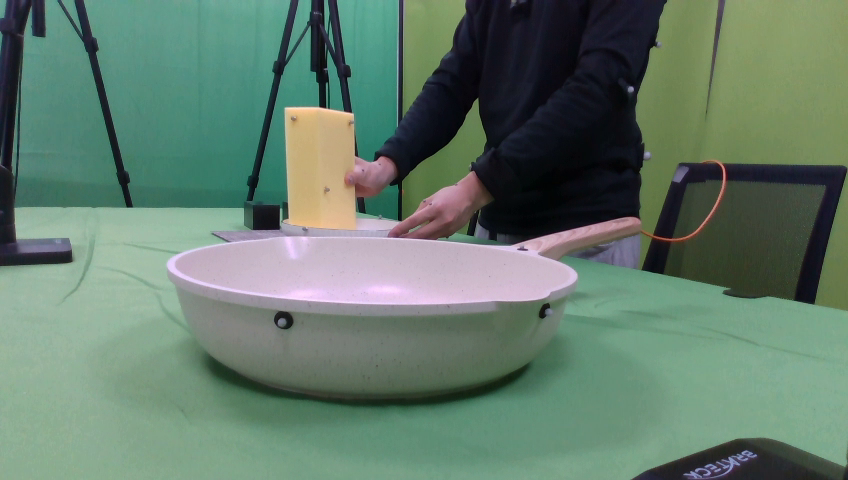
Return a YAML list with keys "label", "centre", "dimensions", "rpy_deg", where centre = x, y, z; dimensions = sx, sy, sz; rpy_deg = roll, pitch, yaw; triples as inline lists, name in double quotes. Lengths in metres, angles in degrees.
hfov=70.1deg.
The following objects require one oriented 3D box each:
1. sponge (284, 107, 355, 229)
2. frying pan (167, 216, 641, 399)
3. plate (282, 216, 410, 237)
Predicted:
- label: "sponge"
  centre: [-0.166, -0.106, 0.980]
  dimensions: [0.061, 0.206, 0.118]
  rpy_deg: [2, 9, 20]
- label: "frying pan"
  centre: [0.046, 0.024, 0.519]
  dimensions: [0.490, 0.102, 0.305]
  rpy_deg: [-14, 16, -37]
- label: "plate"
  centre: [-0.126, -0.012, 0.986]
  dimensions: [0.208, 0.039, 0.207]
  rpy_deg: [2, 7, 0]
